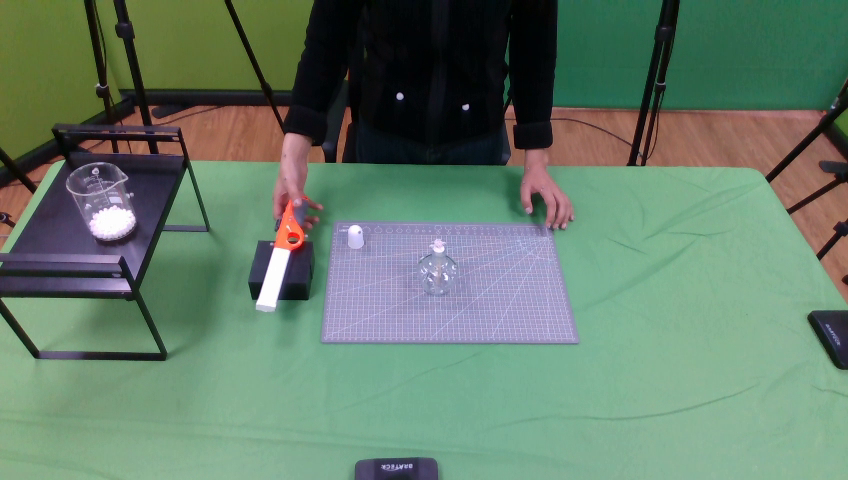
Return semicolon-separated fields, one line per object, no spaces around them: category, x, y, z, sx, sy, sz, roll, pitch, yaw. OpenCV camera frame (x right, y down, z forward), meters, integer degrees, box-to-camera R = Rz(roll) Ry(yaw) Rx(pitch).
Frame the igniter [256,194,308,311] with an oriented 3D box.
igniter;-0.254;0.012;1.096;0.057;0.025;0.275;13;46;-8

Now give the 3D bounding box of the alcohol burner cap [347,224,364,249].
alcohol burner cap;-0.134;-0.010;1.177;0.034;0.048;0.033;2;47;-2

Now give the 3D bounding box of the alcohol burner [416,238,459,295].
alcohol burner;0.024;0.042;1.088;0.078;0.120;0.077;1;46;0

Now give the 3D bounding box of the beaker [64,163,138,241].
beaker;-0.477;-0.055;0.910;0.084;0.101;0.073;-9;48;-13
